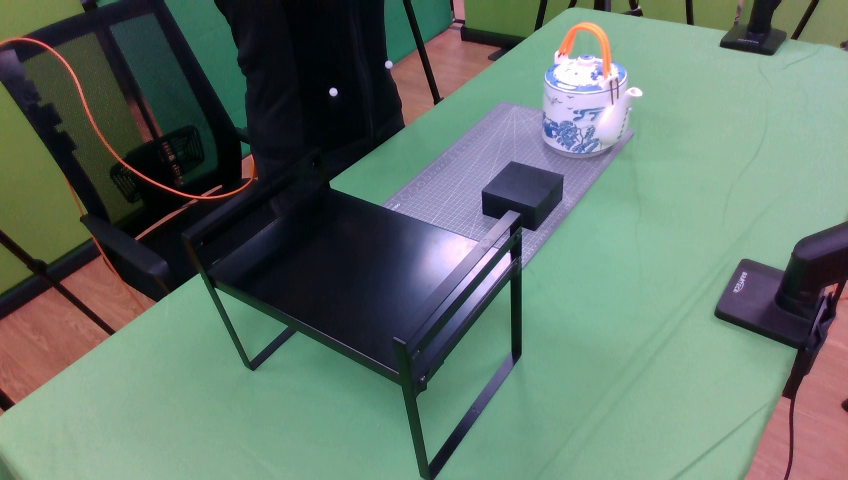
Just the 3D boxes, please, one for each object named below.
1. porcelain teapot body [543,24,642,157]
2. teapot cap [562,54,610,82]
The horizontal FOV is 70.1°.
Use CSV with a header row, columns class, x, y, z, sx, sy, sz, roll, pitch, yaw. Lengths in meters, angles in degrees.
class,x,y,z,sx,sy,sz,roll,pitch,yaw
porcelain teapot body,0.305,-0.258,1.070,0.146,0.226,0.203,-26,44,-20
teapot cap,0.286,-0.302,1.064,0.085,0.044,0.085,-1,41,1
